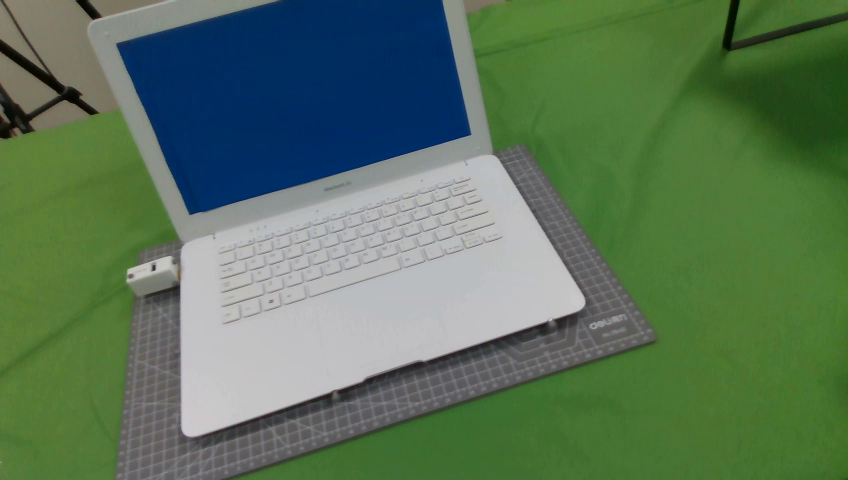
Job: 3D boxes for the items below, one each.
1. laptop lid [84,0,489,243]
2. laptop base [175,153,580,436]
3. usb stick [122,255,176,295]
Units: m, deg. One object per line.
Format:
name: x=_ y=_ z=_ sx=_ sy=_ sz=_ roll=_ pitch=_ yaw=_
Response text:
laptop lid: x=-0.120 y=-0.147 z=0.616 sx=0.357 sy=0.243 sz=0.013 roll=-18 pitch=24 yaw=-5
laptop base: x=-0.061 y=0.034 z=0.583 sx=0.355 sy=0.023 sz=0.233 roll=-17 pitch=48 yaw=-6
usb stick: x=-0.267 y=0.033 z=0.606 sx=0.059 sy=0.027 sz=0.021 roll=-14 pitch=43 yaw=-8
